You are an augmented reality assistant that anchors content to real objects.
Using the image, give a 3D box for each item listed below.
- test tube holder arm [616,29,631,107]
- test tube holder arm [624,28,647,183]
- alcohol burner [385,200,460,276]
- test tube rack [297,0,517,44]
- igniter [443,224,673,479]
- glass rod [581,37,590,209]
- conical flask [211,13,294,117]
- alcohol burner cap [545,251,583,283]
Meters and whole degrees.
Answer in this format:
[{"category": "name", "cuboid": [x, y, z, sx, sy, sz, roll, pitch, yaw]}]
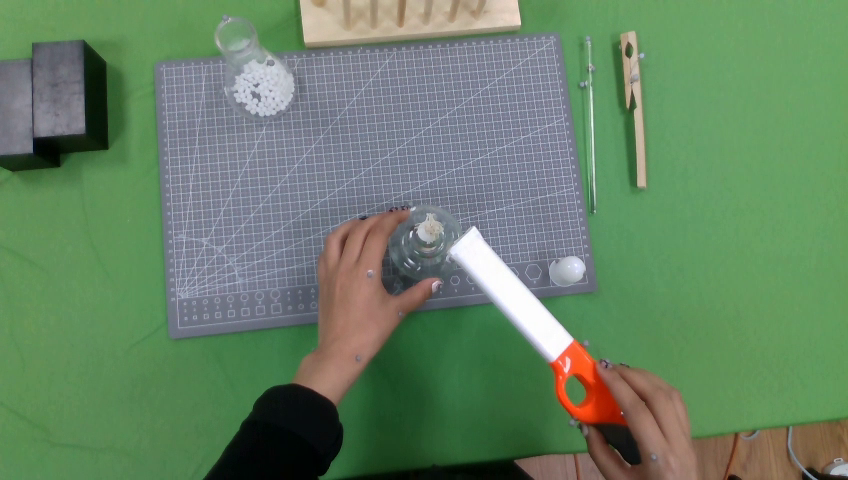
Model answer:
[{"category": "test tube holder arm", "cuboid": [0.228, -0.196, 0.690, 0.010, 0.015, 0.087, -8, 82, 30]}, {"category": "test tube holder arm", "cuboid": [0.237, -0.152, 0.682, 0.013, 0.015, 0.178, -9, 82, 30]}, {"category": "alcohol burner", "cuboid": [-0.001, -0.005, 0.594, 0.078, 0.119, 0.077, 0, 80, -2]}, {"category": "test tube rack", "cuboid": [-0.017, -0.270, 0.648, 0.243, 0.085, 0.066, -7, 82, -5]}, {"category": "igniter", "cuboid": [0.118, 0.099, 0.512, 0.057, 0.025, 0.277, -43, 94, -14]}, {"category": "glass rod", "cuboid": [0.182, -0.133, 0.681, 0.008, 0.008, 0.199, 1, 84, -4]}, {"category": "conical flask", "cuboid": [-0.175, -0.177, 0.601, 0.075, 0.122, 0.075, 1, 81, -4]}, {"category": "alcohol burner cap", "cuboid": [0.149, 0.026, 0.637, 0.034, 0.048, 0.033, 1, 81, -4]}]
